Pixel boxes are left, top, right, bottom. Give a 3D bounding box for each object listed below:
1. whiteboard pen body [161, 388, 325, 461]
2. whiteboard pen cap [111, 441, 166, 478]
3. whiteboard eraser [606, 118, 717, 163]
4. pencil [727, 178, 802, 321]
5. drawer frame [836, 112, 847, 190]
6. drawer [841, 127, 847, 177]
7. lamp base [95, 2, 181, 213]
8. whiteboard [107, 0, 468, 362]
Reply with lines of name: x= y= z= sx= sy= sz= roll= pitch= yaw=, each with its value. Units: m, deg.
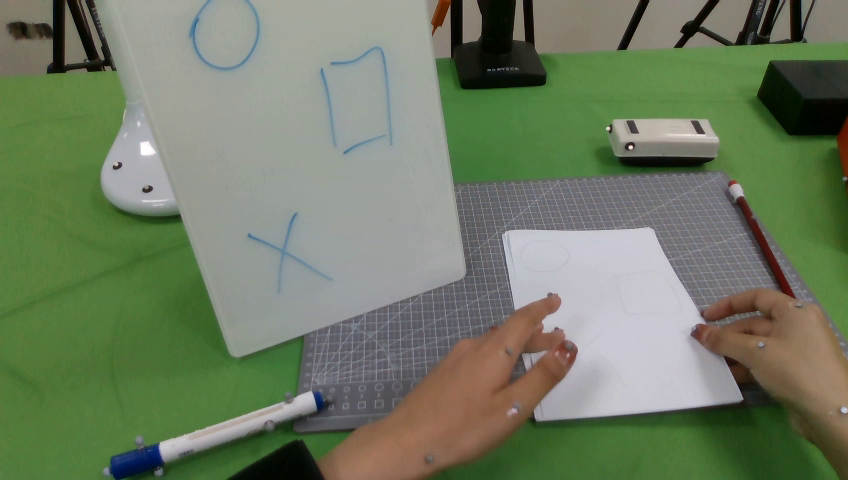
whiteboard pen body: x=-0.140 y=0.136 z=0.435 sx=0.141 sy=0.017 sz=0.017 roll=-16 pitch=44 yaw=-18
whiteboard pen cap: x=-0.195 y=0.150 z=0.417 sx=0.033 sy=0.018 sz=0.018 roll=-14 pitch=43 yaw=-21
whiteboard eraser: x=0.271 y=-0.114 z=0.696 sx=0.112 sy=0.042 sz=0.055 roll=1 pitch=43 yaw=2
pencil: x=0.326 y=0.002 z=0.584 sx=0.012 sy=0.012 sz=0.192 roll=1 pitch=44 yaw=3
drawer frame: x=0.539 y=-0.057 z=0.596 sx=0.201 sy=0.083 sz=0.212 roll=12 pitch=43 yaw=15
drawer: x=0.538 y=-0.054 z=0.594 sx=0.193 sy=0.074 sz=0.210 roll=13 pitch=43 yaw=17
lamp base: x=-0.286 y=-0.145 z=0.633 sx=0.177 sy=0.182 sz=0.160 roll=25 pitch=48 yaw=30
whiteboard: x=-0.106 y=-0.091 z=0.521 sx=0.217 sy=0.307 sz=0.142 roll=-18 pitch=25 yaw=-17
